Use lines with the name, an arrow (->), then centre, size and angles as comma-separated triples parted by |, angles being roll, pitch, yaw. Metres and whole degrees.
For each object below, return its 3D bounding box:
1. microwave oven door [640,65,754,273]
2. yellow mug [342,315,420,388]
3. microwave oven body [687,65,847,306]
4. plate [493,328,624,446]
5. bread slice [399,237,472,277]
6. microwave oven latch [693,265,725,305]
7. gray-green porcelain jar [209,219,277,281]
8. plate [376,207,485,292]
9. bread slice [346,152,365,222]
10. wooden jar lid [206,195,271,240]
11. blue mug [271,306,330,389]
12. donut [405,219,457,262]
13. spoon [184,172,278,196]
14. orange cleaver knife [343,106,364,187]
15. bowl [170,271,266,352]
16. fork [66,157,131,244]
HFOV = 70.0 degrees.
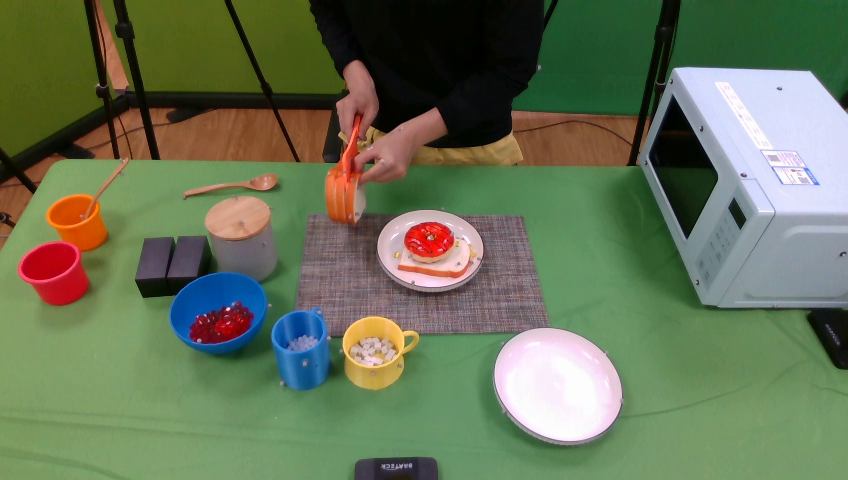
microwave oven door -> 0.523, -0.147, 1.193 | 0.039, 0.245, 0.353 | 0, 47, -3
yellow mug -> -0.068, 0.177, 0.990 | 0.131, 0.064, 0.099 | -15, 50, -19
microwave oven body -> 0.669, -0.111, 1.176 | 0.326, 0.261, 0.439 | 0, 46, -3
plate -> 0.213, 0.236, 0.974 | 0.208, 0.039, 0.206 | 2, 46, -2
bread slice -> 0.026, 0.024, 1.161 | 0.131, 0.019, 0.104 | 7, 48, 8
microwave oven latch -> 0.522, 0.081, 1.115 | 0.030, 0.029, 0.078 | 2, 46, -1
gray-green porcelain jar -> -0.323, 0.007, 1.092 | 0.106, 0.127, 0.105 | 2, 46, -2
plate -> 0.012, 0.021, 1.159 | 0.209, 0.038, 0.208 | 2, 47, -2
bread slice -> -0.131, -0.096, 1.173 | 0.018, 0.107, 0.133 | 4, 30, 2
wooden jar lid -> -0.319, -0.036, 1.046 | 0.108, 0.021, 0.107 | 1, 44, 0
blue mug -> -0.188, 0.163, 0.969 | 0.082, 0.106, 0.116 | 15, 47, 10
donut -> 0.012, -0.001, 1.140 | 0.099, 0.048, 0.098 | 0, 44, 0
spoon -> -0.405, -0.116, 1.275 | 0.194, 0.022, 0.041 | -8, 66, -12
orange cleaver knife -> -0.136, -0.184, 1.176 | 0.012, 0.077, 0.210 | 1, 43, 5
bowl -> -0.334, 0.132, 1.006 | 0.151, 0.077, 0.150 | 2, 46, -2
fork -> -0.608, -0.074, 1.132 | 0.207, 0.019, 0.028 | -52, 48, 10
